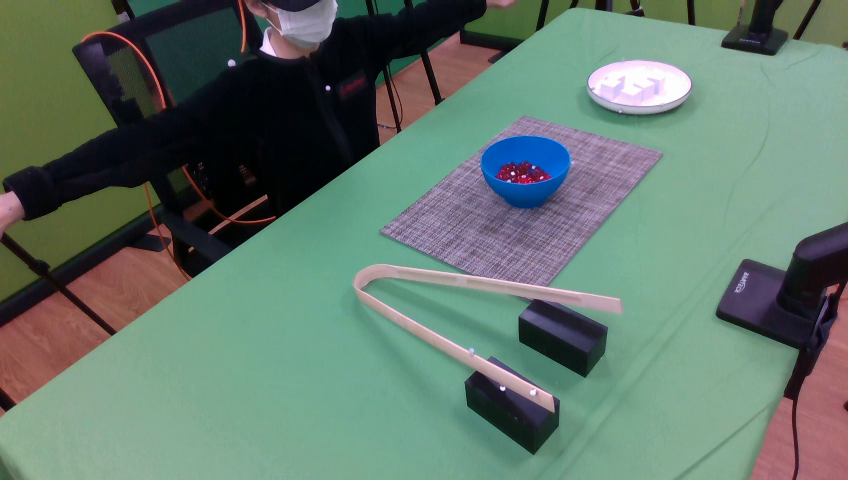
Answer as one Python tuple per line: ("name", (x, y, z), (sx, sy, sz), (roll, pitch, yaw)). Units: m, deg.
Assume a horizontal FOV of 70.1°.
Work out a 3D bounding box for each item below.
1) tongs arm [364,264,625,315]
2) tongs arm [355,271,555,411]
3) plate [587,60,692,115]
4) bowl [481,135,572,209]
("tongs arm", (0.079, 0.066, 0.828), (0.385, 0.028, 0.028), (6, 44, 32))
("tongs arm", (0.023, 0.115, 0.778), (0.051, 0.027, 0.381), (-39, 38, -28))
("plate", (0.445, -0.313, 1.263), (0.209, 0.038, 0.208), (-5, 40, 4))
("bowl", (0.172, -0.106, 1.025), (0.151, 0.077, 0.150), (-4, 40, 4))
